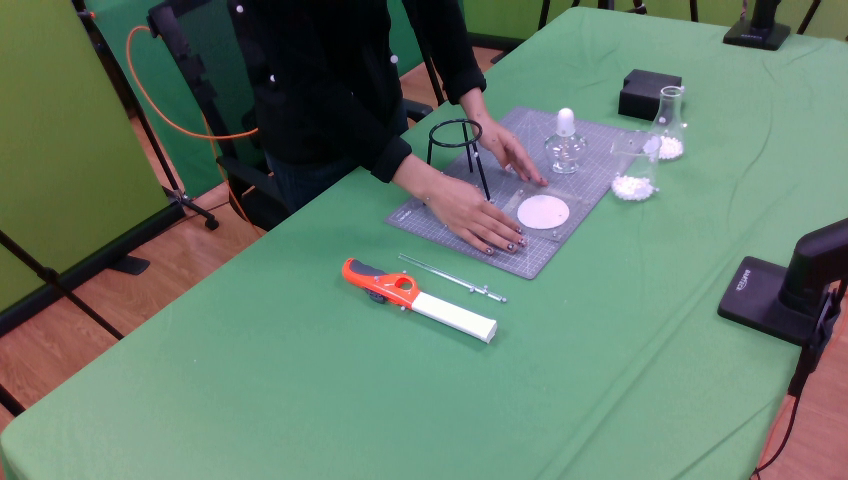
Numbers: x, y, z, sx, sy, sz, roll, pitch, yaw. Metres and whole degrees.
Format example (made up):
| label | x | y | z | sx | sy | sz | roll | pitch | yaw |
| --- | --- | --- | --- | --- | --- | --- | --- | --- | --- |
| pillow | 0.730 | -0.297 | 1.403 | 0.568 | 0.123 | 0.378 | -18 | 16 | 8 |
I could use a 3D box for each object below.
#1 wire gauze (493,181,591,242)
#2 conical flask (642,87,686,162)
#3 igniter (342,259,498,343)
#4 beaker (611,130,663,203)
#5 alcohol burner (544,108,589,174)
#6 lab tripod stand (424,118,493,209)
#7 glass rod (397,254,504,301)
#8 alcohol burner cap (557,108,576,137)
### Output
| label | x | y | z | sx | sy | sz | roll | pitch | yaw |
| --- | --- | --- | --- | --- | --- | --- | --- | --- | --- |
| wire gauze | 0.197 | -0.048 | 1.008 | 0.120 | 0.011 | 0.125 | 21 | 51 | 30 |
| conical flask | 0.429 | -0.206 | 1.067 | 0.075 | 0.122 | 0.075 | -6 | 40 | 5 |
| igniter | -0.017 | 0.084 | 0.883 | 0.274 | 0.025 | 0.057 | 20 | 59 | 31 |
| beaker | 0.346 | -0.118 | 0.998 | 0.084 | 0.101 | 0.073 | -17 | 40 | -7 |
| alcohol burner | 0.252 | -0.178 | 1.071 | 0.078 | 0.120 | 0.077 | -7 | 40 | 6 |
| lab tripod stand | 0.060 | -0.133 | 1.039 | 0.148 | 0.132 | 0.147 | -6 | 38 | 6 |
| glass rod | 0.036 | 0.054 | 0.922 | 0.198 | 0.008 | 0.008 | 21 | 49 | 31 |
| alcohol burner cap | 0.246 | -0.205 | 1.047 | 0.034 | 0.048 | 0.033 | -8 | 44 | 8 |
